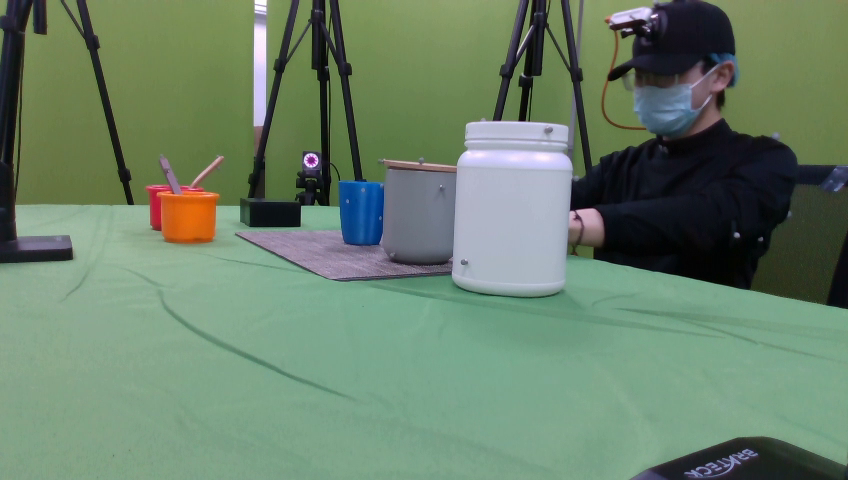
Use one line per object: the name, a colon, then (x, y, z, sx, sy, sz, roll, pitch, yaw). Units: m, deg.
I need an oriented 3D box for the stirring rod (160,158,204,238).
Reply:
stirring rod: (-0.390, -0.070, 0.972, 0.014, 0.006, 0.175, -3, 51, -48)

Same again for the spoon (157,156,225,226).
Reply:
spoon: (-0.425, -0.094, 1.117, 0.041, 0.022, 0.194, 3, 51, 30)

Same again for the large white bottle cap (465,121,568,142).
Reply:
large white bottle cap: (0.103, -0.120, 0.677, 0.115, 0.018, 0.115, 3, 7, 0)

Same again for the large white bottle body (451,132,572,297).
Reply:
large white bottle body: (0.099, -0.037, 0.688, 0.131, 0.184, 0.130, 2, 7, 0)

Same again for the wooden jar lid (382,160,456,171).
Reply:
wooden jar lid: (-0.003, -0.096, 0.826, 0.108, 0.020, 0.108, 5, 10, 0)

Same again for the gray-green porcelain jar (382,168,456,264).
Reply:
gray-green porcelain jar: (-0.005, -0.034, 0.834, 0.106, 0.126, 0.106, 3, 7, 0)

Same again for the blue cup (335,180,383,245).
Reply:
blue cup: (-0.100, -0.046, 0.987, 0.093, 0.100, 0.092, 3, 8, 0)
